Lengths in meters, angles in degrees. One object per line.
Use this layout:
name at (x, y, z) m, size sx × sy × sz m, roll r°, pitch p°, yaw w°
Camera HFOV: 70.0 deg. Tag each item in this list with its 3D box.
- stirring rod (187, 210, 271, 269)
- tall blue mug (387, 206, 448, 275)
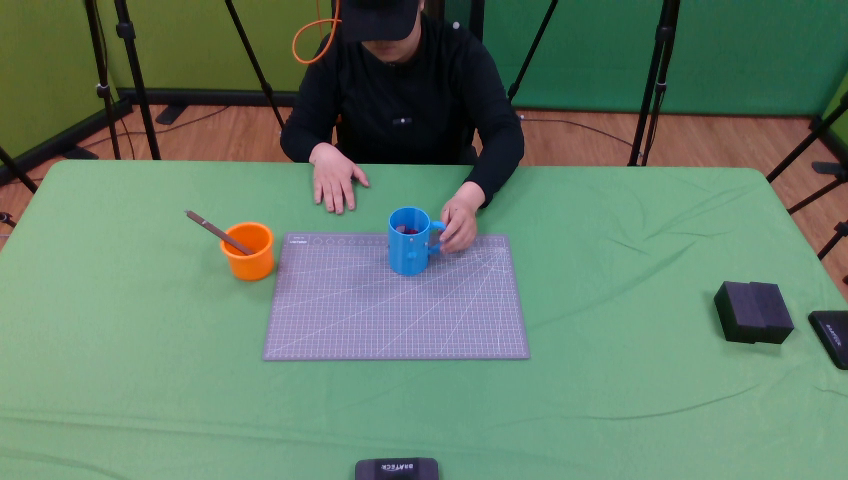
stirring rod at (-0.349, 0.001, 1.092) m, size 0.177 × 0.006 × 0.014 m, roll 39°, pitch 35°, yaw -27°
tall blue mug at (-0.018, -0.004, 1.138) m, size 0.107 × 0.108 × 0.077 m, roll -30°, pitch 54°, yaw -29°
